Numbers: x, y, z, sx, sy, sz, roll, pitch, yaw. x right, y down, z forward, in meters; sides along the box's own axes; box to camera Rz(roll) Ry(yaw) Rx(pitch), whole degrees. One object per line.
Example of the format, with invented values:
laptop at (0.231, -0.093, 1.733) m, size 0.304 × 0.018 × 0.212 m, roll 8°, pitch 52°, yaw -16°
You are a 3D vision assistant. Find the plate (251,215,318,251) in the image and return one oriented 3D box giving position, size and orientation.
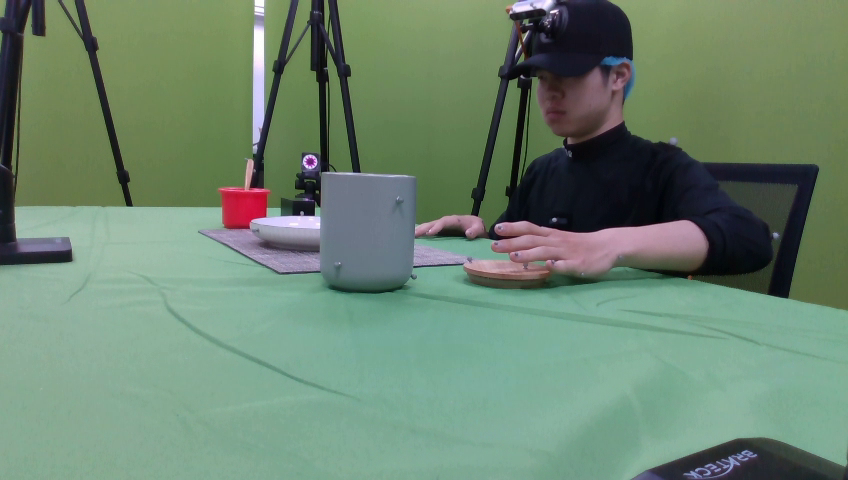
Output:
plate at (-0.170, -0.012, 0.971) m, size 0.208 × 0.039 × 0.207 m, roll 2°, pitch 7°, yaw 0°

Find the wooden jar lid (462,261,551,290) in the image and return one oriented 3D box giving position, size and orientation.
wooden jar lid at (0.100, 0.043, 0.742) m, size 0.108 × 0.020 × 0.108 m, roll 2°, pitch 6°, yaw 0°

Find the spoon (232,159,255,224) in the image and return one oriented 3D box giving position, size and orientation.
spoon at (-0.356, -0.101, 1.218) m, size 0.042 × 0.021 × 0.193 m, roll 1°, pitch 51°, yaw -9°

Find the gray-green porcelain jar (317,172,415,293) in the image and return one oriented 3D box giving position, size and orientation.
gray-green porcelain jar at (-0.065, -0.010, 0.671) m, size 0.106 × 0.126 × 0.106 m, roll 2°, pitch 7°, yaw 0°
